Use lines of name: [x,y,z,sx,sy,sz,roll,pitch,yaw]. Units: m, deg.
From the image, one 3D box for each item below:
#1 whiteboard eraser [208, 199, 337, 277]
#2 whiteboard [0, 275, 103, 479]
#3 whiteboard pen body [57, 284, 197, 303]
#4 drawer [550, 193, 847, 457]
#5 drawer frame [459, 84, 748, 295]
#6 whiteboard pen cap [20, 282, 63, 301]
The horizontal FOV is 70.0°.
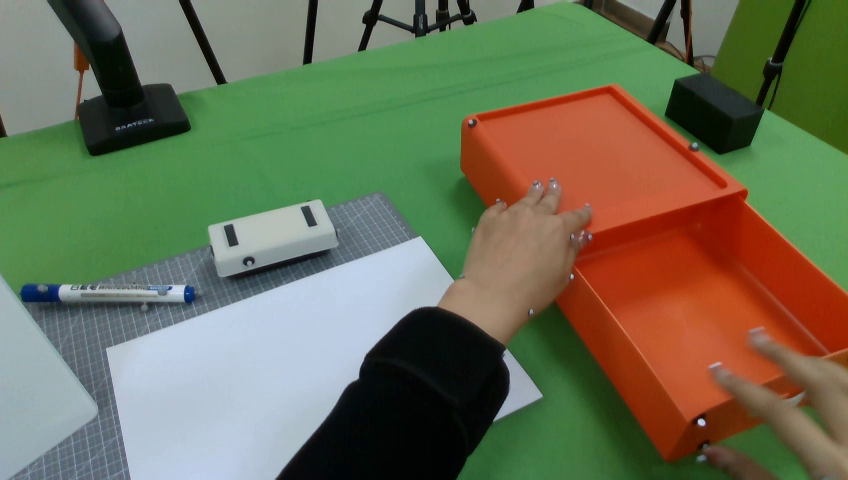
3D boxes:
whiteboard eraser: [-0.145,-0.001,0.580,0.113,0.042,0.055,-17,44,-17]
whiteboard: [-0.403,0.050,0.378,0.142,0.308,0.217,15,42,43]
whiteboard pen body: [-0.277,0.047,0.542,0.141,0.017,0.017,0,43,-4]
drawer: [0.228,0.049,0.509,0.195,0.074,0.209,-15,46,-15]
drawer frame: [0.168,-0.061,0.621,0.202,0.083,0.211,-16,45,-16]
whiteboard pen cap: [-0.337,0.046,0.538,0.033,0.018,0.018,0,43,-7]
